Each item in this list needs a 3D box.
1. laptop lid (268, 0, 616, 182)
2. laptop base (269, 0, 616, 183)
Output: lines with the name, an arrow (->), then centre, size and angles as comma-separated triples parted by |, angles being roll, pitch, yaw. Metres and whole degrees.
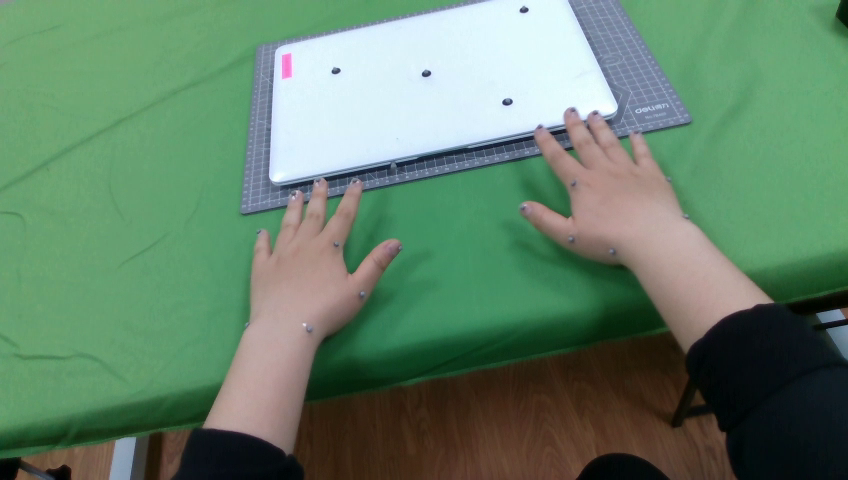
laptop lid -> 0.003, -0.181, 0.660 | 0.356, 0.013, 0.239 | -10, 53, 4
laptop base -> 0.004, -0.176, 0.671 | 0.354, 0.023, 0.233 | -11, 54, 3
